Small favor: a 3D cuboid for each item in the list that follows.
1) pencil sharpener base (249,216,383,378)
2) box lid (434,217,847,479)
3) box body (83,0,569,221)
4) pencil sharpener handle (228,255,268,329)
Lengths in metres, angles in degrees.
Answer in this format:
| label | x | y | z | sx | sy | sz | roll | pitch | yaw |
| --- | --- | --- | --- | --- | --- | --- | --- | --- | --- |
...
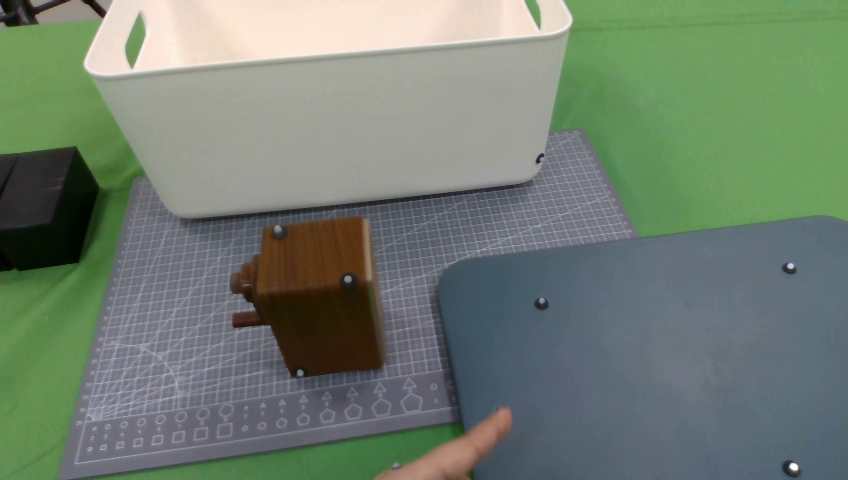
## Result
| label | x | y | z | sx | sy | sz | roll | pitch | yaw |
| --- | --- | --- | --- | --- | --- | --- | --- | --- | --- |
| pencil sharpener base | -0.071 | 0.043 | 0.420 | 0.077 | 0.108 | 0.060 | -6 | 48 | -3 |
| box lid | 0.202 | 0.097 | 0.430 | 0.372 | 0.015 | 0.260 | -7 | 48 | -5 |
| box body | -0.076 | -0.167 | 0.576 | 0.364 | 0.162 | 0.251 | -7 | 47 | -4 |
| pencil sharpener handle | -0.123 | 0.040 | 0.409 | 0.031 | 0.068 | 0.035 | -6 | 50 | -2 |
